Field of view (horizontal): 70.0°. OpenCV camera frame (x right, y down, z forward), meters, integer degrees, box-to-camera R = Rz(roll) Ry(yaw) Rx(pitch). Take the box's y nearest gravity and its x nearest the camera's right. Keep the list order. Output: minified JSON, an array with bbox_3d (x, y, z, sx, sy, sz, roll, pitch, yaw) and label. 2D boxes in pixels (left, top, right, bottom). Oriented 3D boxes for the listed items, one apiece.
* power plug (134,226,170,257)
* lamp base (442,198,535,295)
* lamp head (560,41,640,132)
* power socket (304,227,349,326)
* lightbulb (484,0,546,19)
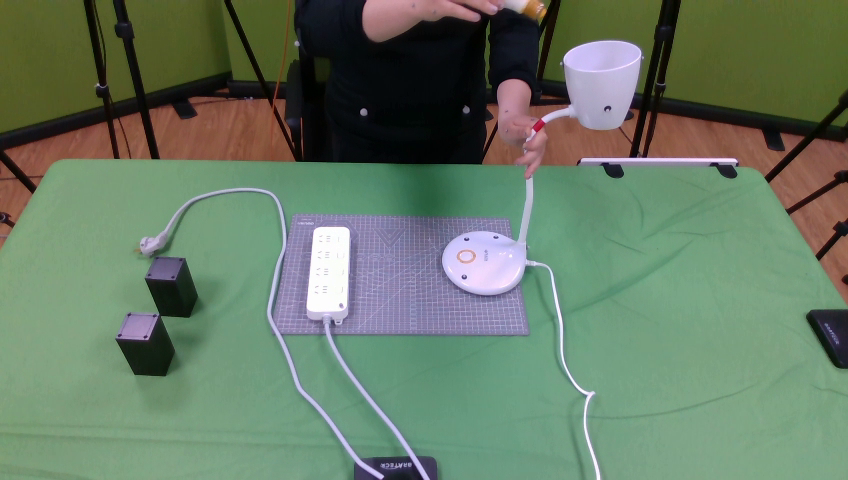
[{"bbox_3d":[-0.515,0.006,1.152,0.052,0.035,0.072,-6,24,6],"label":"power plug"},{"bbox_3d":[0.130,-0.012,1.105,0.179,0.181,0.159,-1,46,-9],"label":"lamp base"},{"bbox_3d":[0.266,-0.228,0.928,0.112,0.123,0.112,-4,37,3],"label":"lamp head"},{"bbox_3d":[-0.177,0.059,1.115,0.072,0.033,0.225,-1,46,-4],"label":"power socket"},{"bbox_3d":[0.127,-0.351,0.864,0.107,0.060,0.059,33,50,1],"label":"lightbulb"}]
